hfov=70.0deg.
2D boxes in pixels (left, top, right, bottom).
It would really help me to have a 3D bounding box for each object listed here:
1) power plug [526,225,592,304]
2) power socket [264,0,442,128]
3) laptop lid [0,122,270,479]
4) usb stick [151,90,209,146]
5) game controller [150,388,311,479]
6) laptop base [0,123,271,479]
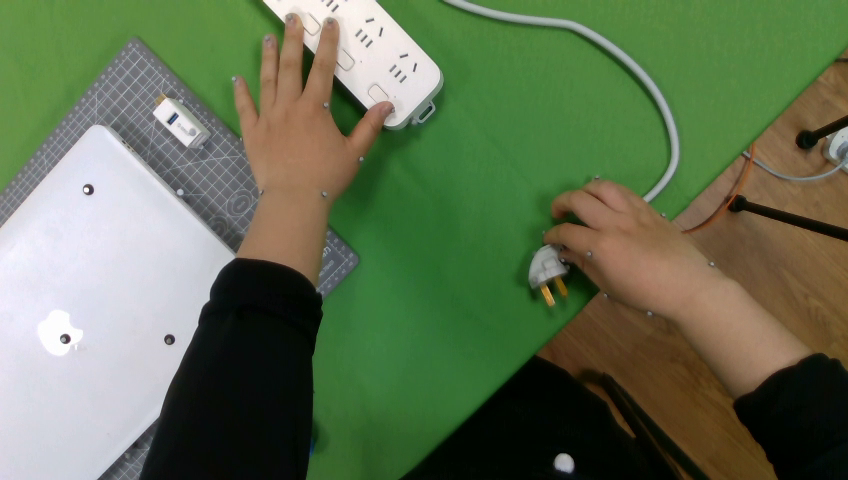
[{"bbox_3d":[0.125,0.022,0.541,0.072,0.035,0.052,-30,77,19],"label":"power plug"},{"bbox_3d":[-0.076,-0.195,0.537,0.072,0.032,0.227,-43,91,10],"label":"power socket"},{"bbox_3d":[-0.346,0.091,0.586,0.357,0.013,0.242,-43,94,8],"label":"laptop lid"},{"bbox_3d":[-0.230,-0.115,0.559,0.021,0.027,0.059,-45,89,10],"label":"usb stick"},{"bbox_3d":[-0.194,0.217,0.586,0.155,0.051,0.097,-44,87,7],"label":"game controller"},{"bbox_3d":[-0.346,0.088,0.597,0.354,0.023,0.236,-44,94,7],"label":"laptop base"}]
